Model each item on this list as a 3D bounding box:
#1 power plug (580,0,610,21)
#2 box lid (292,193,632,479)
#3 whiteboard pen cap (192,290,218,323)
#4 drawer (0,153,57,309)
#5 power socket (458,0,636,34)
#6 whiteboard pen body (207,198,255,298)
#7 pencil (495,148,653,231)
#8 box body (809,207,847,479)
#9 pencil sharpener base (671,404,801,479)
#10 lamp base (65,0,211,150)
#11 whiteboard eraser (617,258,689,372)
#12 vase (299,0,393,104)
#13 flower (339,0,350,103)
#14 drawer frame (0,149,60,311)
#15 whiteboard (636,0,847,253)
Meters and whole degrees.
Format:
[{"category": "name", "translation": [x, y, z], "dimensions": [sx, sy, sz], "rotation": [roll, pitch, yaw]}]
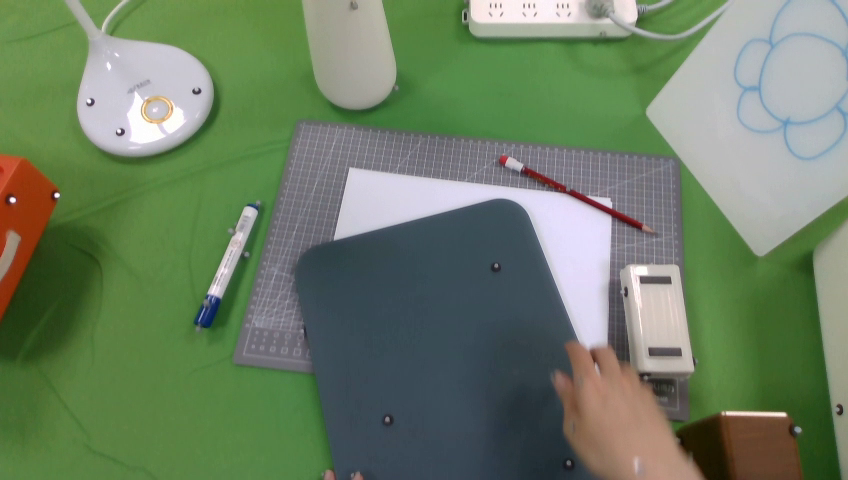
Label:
[{"category": "power plug", "translation": [0.207, -0.283, 0.740], "dimensions": [0.035, 0.053, 0.072], "rotation": [10, 68, 6]}, {"category": "box lid", "translation": [0.028, 0.135, 0.596], "dimensions": [0.263, 0.015, 0.368], "rotation": [-15, 68, -6]}, {"category": "whiteboard pen cap", "translation": [-0.223, 0.067, 0.618], "dimensions": [0.018, 0.018, 0.033], "rotation": [11, 61, 6]}, {"category": "drawer", "translation": [-0.498, 0.000, 0.574], "dimensions": [0.211, 0.074, 0.193], "rotation": [9, 68, 4]}, {"category": "power socket", "translation": [0.157, -0.300, 0.773], "dimensions": [0.227, 0.033, 0.071], "rotation": [1, 67, 1]}, {"category": "whiteboard pen body", "translation": [-0.208, 0.017, 0.644], "dimensions": [0.017, 0.017, 0.140], "rotation": [10, 63, 6]}, {"category": "pencil", "translation": [0.166, -0.056, 0.677], "dimensions": [0.193, 0.012, 0.012], "rotation": [29, 70, 11]}, {"category": "box body", "translation": [0.503, 0.130, 0.511], "dimensions": [0.254, 0.161, 0.361], "rotation": [6, 67, 3]}, {"category": "pencil sharpener base", "translation": [0.263, 0.188, 0.519], "dimensions": [0.061, 0.108, 0.076], "rotation": [2, 67, 1]}, {"category": "lamp base", "translation": [-0.348, -0.215, 0.661], "dimensions": [0.178, 0.181, 0.160], "rotation": [38, 71, 19]}, {"category": "whiteboard eraser", "translation": [0.225, 0.074, 0.601], "dimensions": [0.055, 0.042, 0.112], "rotation": [2, 66, 0]}, {"category": "vase", "translation": [-0.089, -0.239, 0.658], "dimensions": [0.098, 0.201, 0.097], "rotation": [-1, 65, 2]}, {"category": "flower", "translation": [-0.082, -0.288, 0.590], "dimensions": [0.038, 0.365, 0.043], "rotation": [-5, 48, -9]}, {"category": "drawer frame", "translation": [-0.505, 0.001, 0.576], "dimensions": [0.213, 0.083, 0.200], "rotation": [9, 67, 2]}, {"category": "whiteboard", "translation": [0.404, -0.168, 0.598], "dimensions": [0.144, 0.307, 0.215], "rotation": [-16, 65, -27]}]
